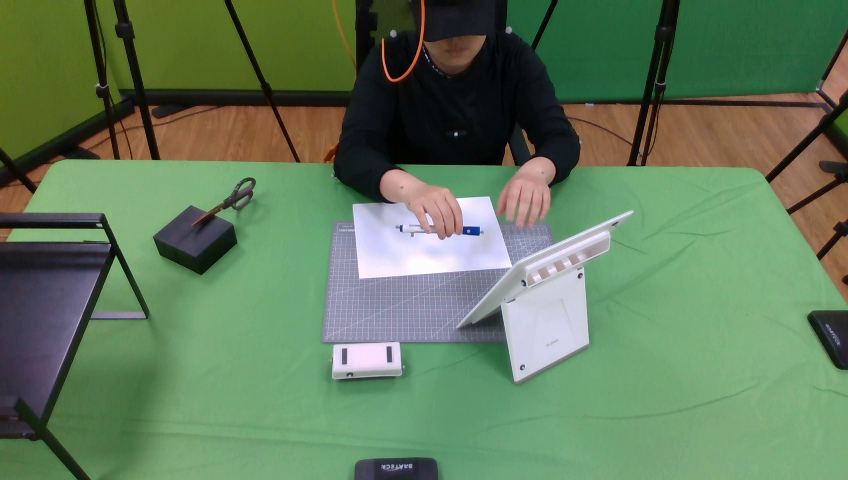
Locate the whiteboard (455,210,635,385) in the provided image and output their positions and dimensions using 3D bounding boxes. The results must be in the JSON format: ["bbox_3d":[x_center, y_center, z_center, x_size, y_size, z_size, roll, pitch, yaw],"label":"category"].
[{"bbox_3d":[0.210,0.111,0.955,0.217,0.306,0.143,-21,72,-23],"label":"whiteboard"}]

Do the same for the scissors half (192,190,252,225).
[{"bbox_3d":[-0.394,-0.060,1.187,0.013,0.040,0.175,25,29,12],"label":"scissors half"}]

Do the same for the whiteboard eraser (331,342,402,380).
[{"bbox_3d":[-0.094,0.198,0.986,0.113,0.042,0.055,-2,44,-6],"label":"whiteboard eraser"}]

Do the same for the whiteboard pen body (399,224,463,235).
[{"bbox_3d":[0.025,-0.019,1.081,0.141,0.017,0.017,2,46,3],"label":"whiteboard pen body"}]

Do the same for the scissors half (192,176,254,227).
[{"bbox_3d":[-0.388,-0.075,1.174,0.013,0.040,0.174,29,47,8],"label":"scissors half"}]

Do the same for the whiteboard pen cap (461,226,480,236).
[{"bbox_3d":[0.083,-0.016,1.074,0.033,0.018,0.018,0,46,5],"label":"whiteboard pen cap"}]
